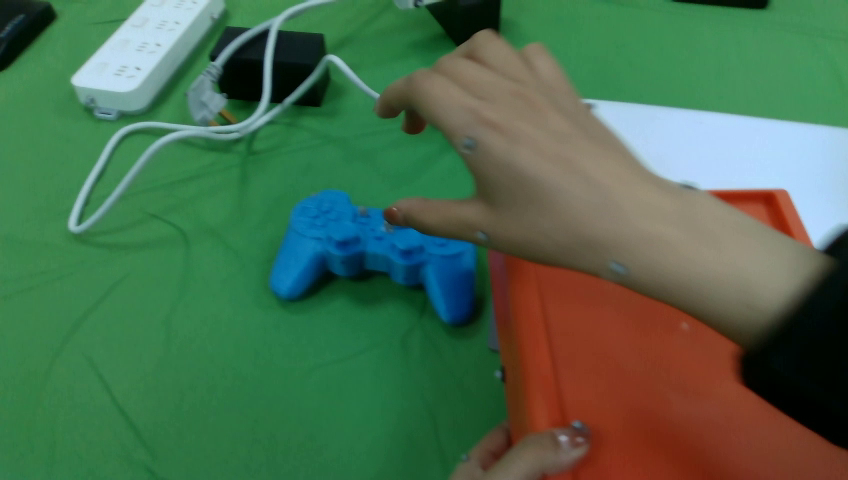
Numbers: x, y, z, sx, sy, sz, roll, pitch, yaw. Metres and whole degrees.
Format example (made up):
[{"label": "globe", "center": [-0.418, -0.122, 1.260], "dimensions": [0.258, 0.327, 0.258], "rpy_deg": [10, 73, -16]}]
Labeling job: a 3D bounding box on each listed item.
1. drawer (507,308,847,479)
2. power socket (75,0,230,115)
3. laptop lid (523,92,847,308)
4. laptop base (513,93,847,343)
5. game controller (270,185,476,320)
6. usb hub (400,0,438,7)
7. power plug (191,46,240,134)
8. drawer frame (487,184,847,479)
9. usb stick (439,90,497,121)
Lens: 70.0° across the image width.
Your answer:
[{"label": "drawer", "center": [0.152, 0.142, 0.320], "dimensions": [0.195, 0.074, 0.209], "rpy_deg": [0, 55, -3]}, {"label": "power socket", "center": [-0.281, -0.216, 0.644], "dimensions": [0.072, 0.033, 0.225], "rpy_deg": [11, 52, 6]}, {"label": "laptop lid", "center": [0.258, -0.029, 0.498], "dimensions": [0.356, 0.013, 0.239], "rpy_deg": [9, 54, 6]}, {"label": "laptop base", "center": [0.258, -0.023, 0.509], "dimensions": [0.354, 0.023, 0.233], "rpy_deg": [8, 55, 5]}, {"label": "game controller", "center": [-0.034, 0.003, 0.465], "dimensions": [0.155, 0.052, 0.096], "rpy_deg": [9, 47, 5]}, {"label": "usb hub", "center": [0.027, -0.282, 0.646], "dimensions": [0.125, 0.025, 0.049], "rpy_deg": [-21, 56, -16]}, {"label": "power plug", "center": [-0.183, -0.137, 0.563], "dimensions": [0.072, 0.053, 0.035], "rpy_deg": [-45, 29, 1]}, {"label": "drawer frame", "center": [0.148, 0.073, 0.366], "dimensions": [0.202, 0.083, 0.211], "rpy_deg": [-2, 55, -3]}, {"label": "usb stick", "center": [0.045, -0.128, 0.578], "dimensions": [0.059, 0.027, 0.021], "rpy_deg": [-4, 27, -31]}]
